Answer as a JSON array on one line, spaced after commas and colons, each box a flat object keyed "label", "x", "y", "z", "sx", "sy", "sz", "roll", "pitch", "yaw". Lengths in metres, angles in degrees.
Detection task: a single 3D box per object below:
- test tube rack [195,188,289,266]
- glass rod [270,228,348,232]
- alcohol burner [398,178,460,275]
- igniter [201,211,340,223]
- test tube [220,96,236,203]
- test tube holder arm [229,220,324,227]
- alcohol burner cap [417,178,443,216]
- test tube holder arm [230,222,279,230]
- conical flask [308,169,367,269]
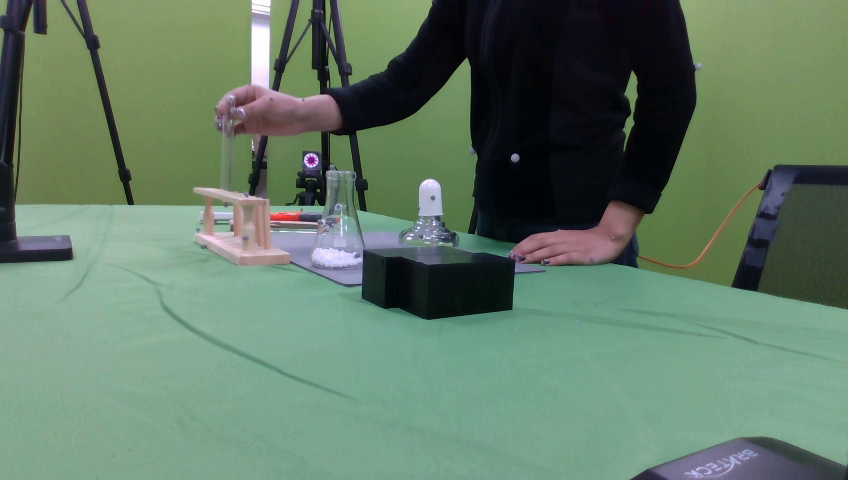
[{"label": "test tube rack", "x": -0.266, "y": -0.025, "z": 0.863, "sx": 0.067, "sy": 0.085, "sz": 0.241, "roll": -2, "pitch": 9, "yaw": -33}, {"label": "glass rod", "x": -0.235, "y": -0.018, "z": 1.104, "sx": 0.201, "sy": 0.008, "sz": 0.008, "roll": 1, "pitch": 7, "yaw": -26}, {"label": "alcohol burner", "x": 0.007, "y": -0.017, "z": 0.751, "sx": 0.078, "sy": 0.119, "sz": 0.078, "roll": 3, "pitch": 9, "yaw": 0}, {"label": "igniter", "x": -0.311, "y": -0.047, "z": 1.243, "sx": 0.278, "sy": 0.025, "sz": 0.057, "roll": -1, "pitch": -2, "yaw": -24}, {"label": "test tube", "x": -0.278, "y": -0.127, "z": 0.855, "sx": 0.017, "sy": 0.150, "sz": 0.017, "roll": 5, "pitch": 7, "yaw": 0}, {"label": "test tube holder arm", "x": -0.275, "y": -0.030, "z": 1.144, "sx": 0.179, "sy": 0.015, "sz": 0.013, "roll": -2, "pitch": 44, "yaw": -31}, {"label": "alcohol burner cap", "x": 0.007, "y": -0.053, "z": 0.745, "sx": 0.034, "sy": 0.048, "sz": 0.034, "roll": -3, "pitch": 6, "yaw": 1}, {"label": "test tube holder arm", "x": -0.312, "y": -0.025, "z": 1.118, "sx": 0.088, "sy": 0.015, "sz": 0.010, "roll": -1, "pitch": 43, "yaw": -30}, {"label": "conical flask", "x": -0.107, "y": -0.027, "z": 0.762, "sx": 0.075, "sy": 0.122, "sz": 0.075, "roll": 3, "pitch": 7, "yaw": 0}]
